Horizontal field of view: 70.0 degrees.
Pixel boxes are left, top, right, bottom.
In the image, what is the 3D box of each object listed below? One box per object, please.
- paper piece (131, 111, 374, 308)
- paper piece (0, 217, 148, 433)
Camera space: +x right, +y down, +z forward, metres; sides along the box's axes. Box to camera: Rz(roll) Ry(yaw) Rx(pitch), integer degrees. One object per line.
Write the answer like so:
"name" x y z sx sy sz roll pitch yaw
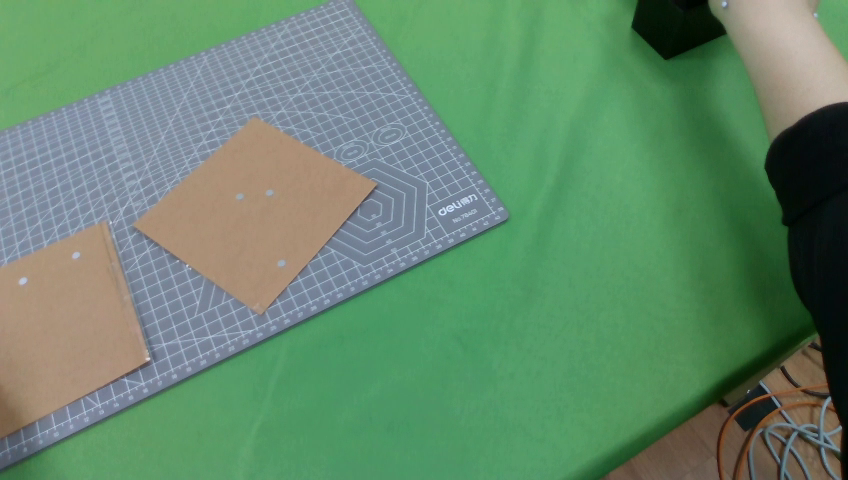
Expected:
"paper piece" -0.131 -0.032 0.467 0.135 0.004 0.135 31 66 19
"paper piece" -0.275 0.059 0.425 0.138 0.009 0.134 -28 58 -10
